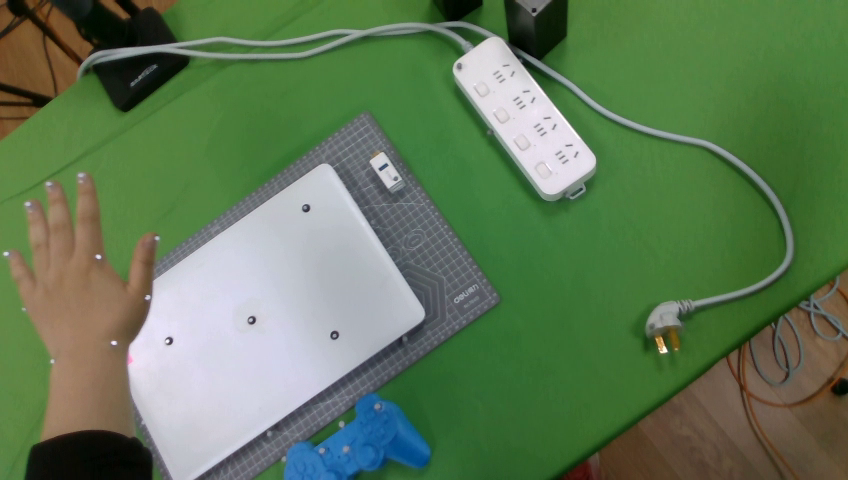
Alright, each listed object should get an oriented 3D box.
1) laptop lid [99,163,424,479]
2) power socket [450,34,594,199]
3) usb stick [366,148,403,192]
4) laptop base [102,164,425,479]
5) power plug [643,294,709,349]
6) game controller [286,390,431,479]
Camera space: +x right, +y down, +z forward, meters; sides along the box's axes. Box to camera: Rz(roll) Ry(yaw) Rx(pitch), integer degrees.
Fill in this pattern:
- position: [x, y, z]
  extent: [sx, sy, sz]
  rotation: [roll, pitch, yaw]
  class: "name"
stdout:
- position: [-0.202, 0.095, 0.718]
  extent: [0.357, 0.013, 0.240]
  rotation: [-34, 76, 3]
  class: "laptop lid"
- position: [0.112, -0.146, 0.709]
  extent: [0.072, 0.033, 0.225]
  rotation: [-35, 73, 4]
  class: "power socket"
- position: [-0.051, -0.088, 0.731]
  extent: [0.021, 0.027, 0.059]
  rotation: [-36, 73, 5]
  class: "usb stick"
- position: [-0.200, 0.095, 0.730]
  extent: [0.354, 0.023, 0.234]
  rotation: [-35, 77, 3]
  class: "laptop base"
- position: [0.263, 0.081, 0.625]
  extent: [0.072, 0.035, 0.052]
  rotation: [-21, 56, 19]
  class: "power plug"
- position: [-0.079, 0.236, 0.662]
  extent: [0.155, 0.052, 0.096]
  rotation: [-35, 69, 2]
  class: "game controller"
